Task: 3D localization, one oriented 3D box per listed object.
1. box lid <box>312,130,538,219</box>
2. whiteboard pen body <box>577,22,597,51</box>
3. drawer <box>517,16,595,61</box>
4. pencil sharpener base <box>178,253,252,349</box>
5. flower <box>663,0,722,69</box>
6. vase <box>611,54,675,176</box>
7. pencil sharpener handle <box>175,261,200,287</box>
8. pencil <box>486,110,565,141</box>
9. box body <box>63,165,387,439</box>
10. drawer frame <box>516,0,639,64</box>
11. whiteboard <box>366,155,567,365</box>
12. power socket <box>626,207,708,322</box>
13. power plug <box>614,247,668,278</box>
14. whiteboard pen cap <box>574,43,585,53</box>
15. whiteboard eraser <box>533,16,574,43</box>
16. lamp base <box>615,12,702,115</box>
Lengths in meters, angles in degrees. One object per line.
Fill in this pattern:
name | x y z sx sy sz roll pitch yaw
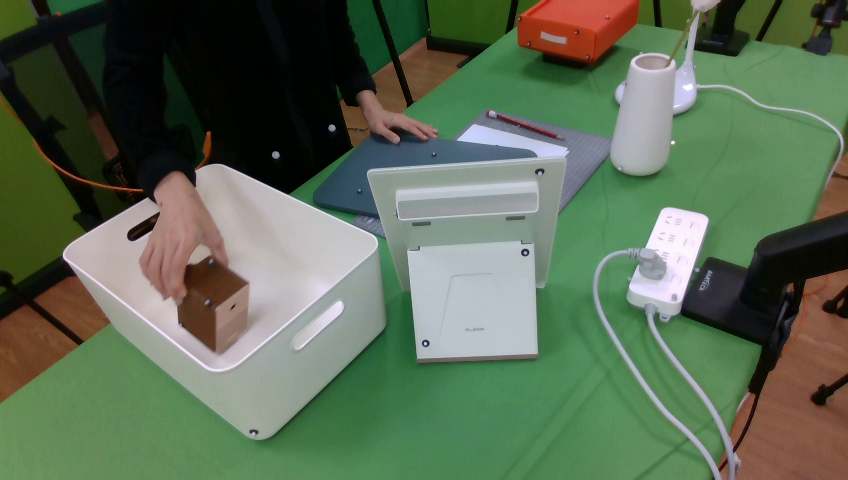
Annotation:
box lid | 0.007 -0.113 1.114 0.369 0.015 0.263 11 44 21
whiteboard pen body | 0.372 -0.468 1.390 0.017 0.017 0.141 14 47 23
drawer | 0.353 -0.505 1.404 0.193 0.073 0.212 25 50 33
pencil sharpener base | -0.279 0.081 0.804 0.076 0.107 0.061 33 46 12
flower | 0.379 -0.261 0.965 0.044 0.362 0.038 21 53 5
vase | 0.377 -0.209 1.031 0.098 0.201 0.097 -3 40 3
pencil sharpener handle | -0.318 0.046 0.806 0.030 0.068 0.036 33 44 13
pencil | 0.204 -0.232 1.226 0.192 0.012 0.012 29 52 33
box body | -0.257 0.068 0.824 0.361 0.161 0.255 24 49 31
drawer frame | 0.356 -0.507 1.410 0.200 0.083 0.214 25 52 32
whiteboard | 0.059 0.050 0.738 0.217 0.307 0.143 -3 60 5
power socket | 0.359 0.025 0.886 0.072 0.033 0.227 16 46 26
power plug | 0.306 0.031 0.851 0.072 0.053 0.035 24 49 33
whiteboard pen cap | 0.346 -0.430 1.350 0.018 0.018 0.033 15 37 24
whiteboard eraser | 0.305 -0.493 1.423 0.055 0.042 0.113 26 43 25
lamp base | 0.484 -0.364 1.211 0.180 0.181 0.159 -15 41 -14
